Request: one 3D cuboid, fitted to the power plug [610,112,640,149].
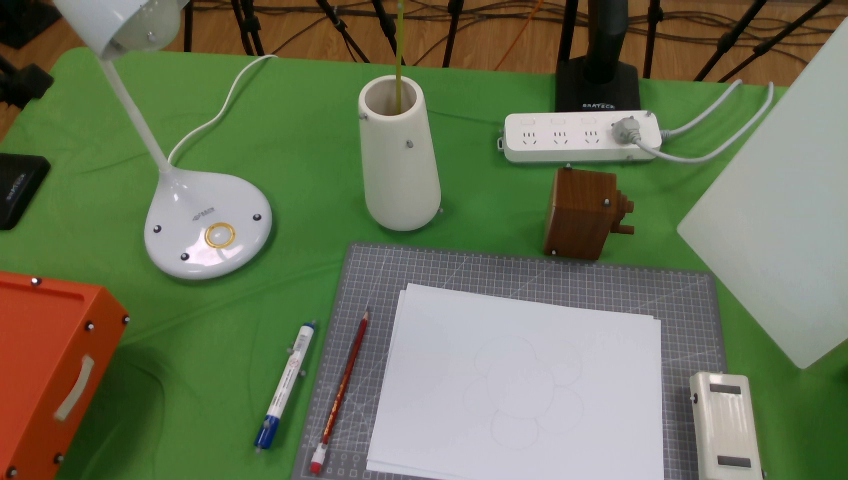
[{"bbox_3d":[0.264,-0.137,0.803,0.035,0.053,0.072,9,59,9],"label":"power plug"}]

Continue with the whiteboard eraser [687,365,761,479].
[{"bbox_3d":[0.301,0.185,0.613,0.055,0.042,0.112,6,58,5],"label":"whiteboard eraser"}]

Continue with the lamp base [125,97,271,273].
[{"bbox_3d":[-0.292,-0.075,0.726,0.178,0.182,0.160,34,64,25],"label":"lamp base"}]

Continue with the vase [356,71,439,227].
[{"bbox_3d":[-0.034,-0.102,0.722,0.098,0.202,0.097,-2,56,3],"label":"vase"}]

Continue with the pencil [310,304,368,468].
[{"bbox_3d":[-0.090,0.154,0.670,0.012,0.012,0.192,10,57,10],"label":"pencil"}]

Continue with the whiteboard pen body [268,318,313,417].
[{"bbox_3d":[-0.150,0.148,0.670,0.017,0.017,0.139,9,54,9],"label":"whiteboard pen body"}]

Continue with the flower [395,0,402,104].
[{"bbox_3d":[-0.028,-0.161,0.662,0.038,0.365,0.043,-5,39,-8],"label":"flower"}]

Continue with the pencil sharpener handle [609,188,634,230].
[{"bbox_3d":[0.236,-0.035,0.708,0.030,0.068,0.035,7,56,7],"label":"pencil sharpener handle"}]

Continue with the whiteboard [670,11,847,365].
[{"bbox_3d":[0.458,-0.050,0.641,0.144,0.307,0.215,-12,55,-28],"label":"whiteboard"}]

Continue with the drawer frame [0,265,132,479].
[{"bbox_3d":[-0.448,0.128,0.611,0.213,0.083,0.200,8,59,5],"label":"drawer frame"}]

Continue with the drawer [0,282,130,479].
[{"bbox_3d":[-0.442,0.126,0.609,0.211,0.074,0.193,7,59,7],"label":"drawer"}]

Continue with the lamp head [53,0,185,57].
[{"bbox_3d":[-0.257,-0.223,0.475,0.123,0.112,0.112,46,63,-15],"label":"lamp head"}]

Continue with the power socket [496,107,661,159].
[{"bbox_3d":[0.214,-0.149,0.840,0.227,0.033,0.071,0,58,2],"label":"power socket"}]

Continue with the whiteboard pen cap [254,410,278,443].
[{"bbox_3d":[-0.165,0.195,0.636,0.018,0.018,0.033,9,53,9],"label":"whiteboard pen cap"}]

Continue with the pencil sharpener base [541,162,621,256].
[{"bbox_3d":[0.186,-0.035,0.724,0.076,0.108,0.061,7,57,7],"label":"pencil sharpener base"}]
